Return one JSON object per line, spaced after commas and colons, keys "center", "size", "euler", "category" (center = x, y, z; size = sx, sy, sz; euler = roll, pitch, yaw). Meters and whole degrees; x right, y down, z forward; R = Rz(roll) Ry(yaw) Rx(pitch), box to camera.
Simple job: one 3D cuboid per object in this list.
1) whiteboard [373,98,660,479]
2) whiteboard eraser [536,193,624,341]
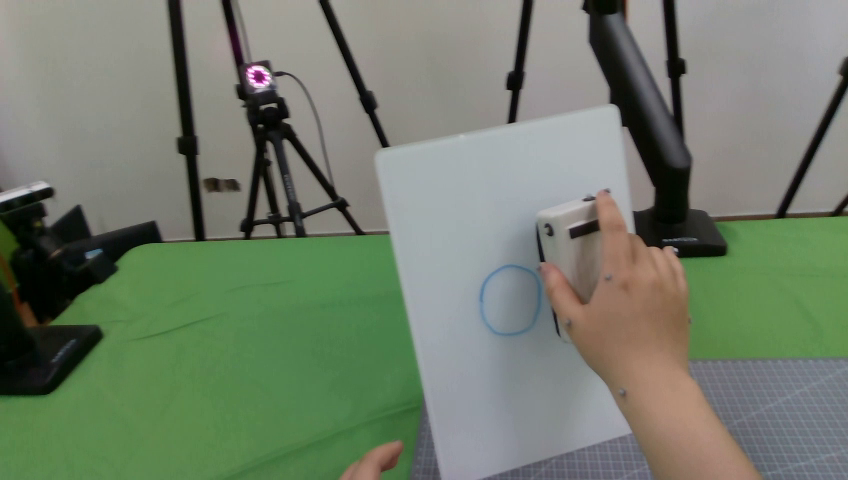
{"center": [0.078, 0.039, 0.589], "size": [0.217, 0.306, 0.143], "euler": [-13, 11, -10], "category": "whiteboard"}
{"center": [0.125, 0.022, 0.493], "size": [0.056, 0.113, 0.041], "euler": [-16, 12, -18], "category": "whiteboard eraser"}
